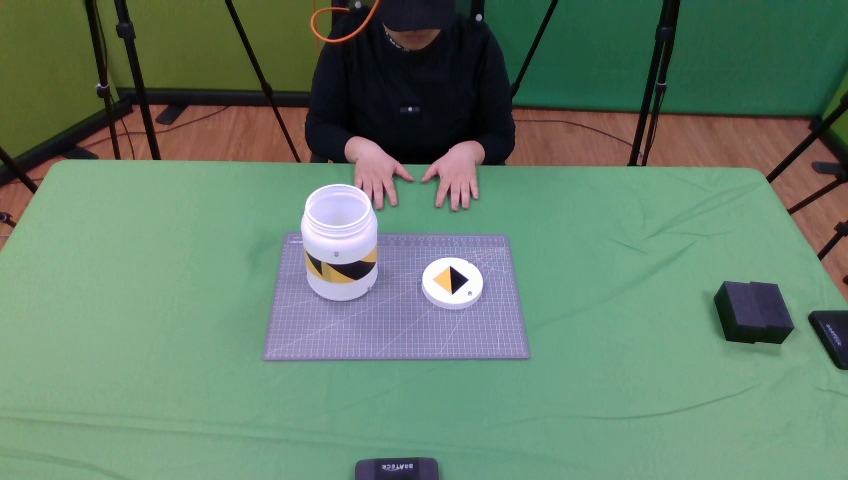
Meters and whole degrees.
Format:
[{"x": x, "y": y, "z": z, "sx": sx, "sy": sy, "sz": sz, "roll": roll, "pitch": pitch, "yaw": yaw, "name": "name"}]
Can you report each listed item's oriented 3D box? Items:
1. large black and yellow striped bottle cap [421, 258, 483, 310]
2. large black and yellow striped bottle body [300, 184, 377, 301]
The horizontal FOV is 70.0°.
[{"x": 0.053, "y": 0.081, "z": 1.126, "sx": 0.115, "sy": 0.019, "sz": 0.114, "roll": 2, "pitch": 45, "yaw": -1, "name": "large black and yellow striped bottle cap"}, {"x": -0.148, "y": 0.004, "z": 1.067, "sx": 0.131, "sy": 0.185, "sz": 0.130, "roll": 2, "pitch": 46, "yaw": -2, "name": "large black and yellow striped bottle body"}]
